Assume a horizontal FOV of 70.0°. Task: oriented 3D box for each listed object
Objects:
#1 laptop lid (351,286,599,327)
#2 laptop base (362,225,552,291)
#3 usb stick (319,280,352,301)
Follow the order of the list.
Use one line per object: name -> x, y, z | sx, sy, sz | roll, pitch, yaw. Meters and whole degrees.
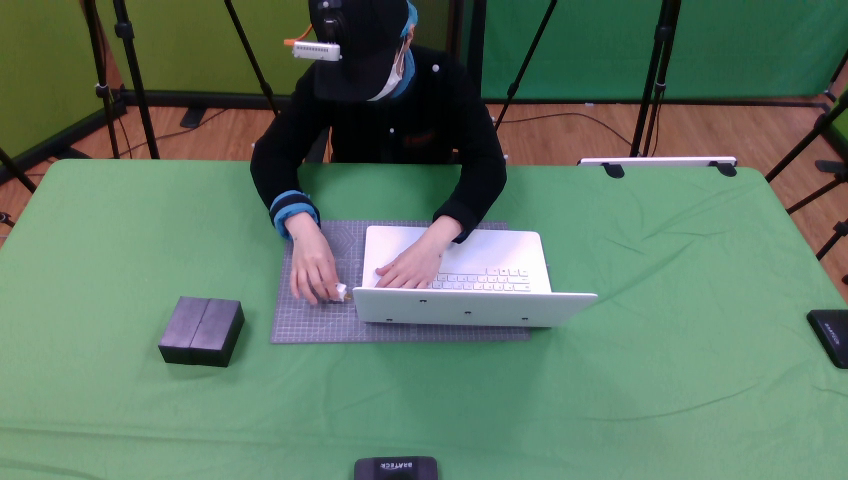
laptop lid -> 0.068, 0.109, 0.952 | 0.357, 0.242, 0.013 | 2, 71, -4
laptop base -> 0.061, 0.063, 1.145 | 0.354, 0.023, 0.234 | 2, 43, -3
usb stick -> -0.156, 0.091, 1.076 | 0.059, 0.027, 0.021 | 14, 39, 6
